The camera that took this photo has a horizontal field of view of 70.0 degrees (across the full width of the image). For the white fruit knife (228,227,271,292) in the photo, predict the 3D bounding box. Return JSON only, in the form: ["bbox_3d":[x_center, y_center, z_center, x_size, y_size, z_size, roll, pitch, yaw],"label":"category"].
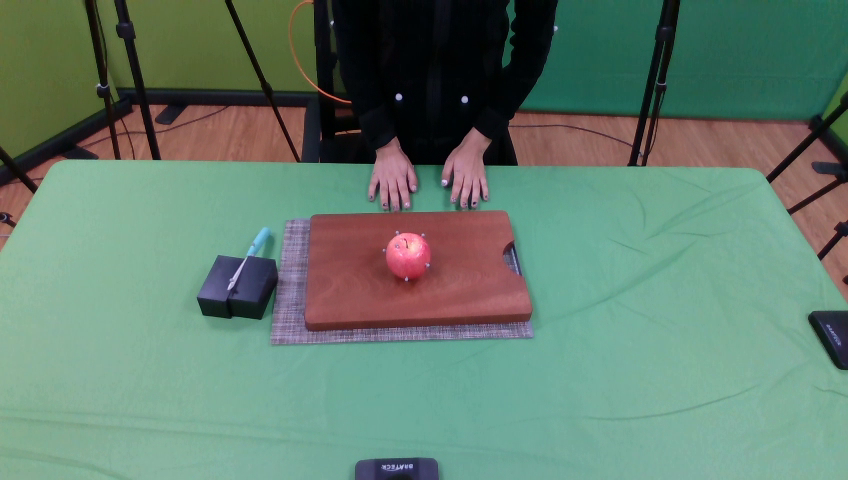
[{"bbox_3d":[-0.318,0.031,1.107,0.016,0.027,0.206,5,32,4],"label":"white fruit knife"}]

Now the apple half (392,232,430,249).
[{"bbox_3d":[-0.025,0.010,1.110,0.081,0.081,0.032,8,51,4],"label":"apple half"}]

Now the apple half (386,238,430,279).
[{"bbox_3d":[-0.032,0.039,1.084,0.081,0.075,0.053,11,50,1],"label":"apple half"}]
